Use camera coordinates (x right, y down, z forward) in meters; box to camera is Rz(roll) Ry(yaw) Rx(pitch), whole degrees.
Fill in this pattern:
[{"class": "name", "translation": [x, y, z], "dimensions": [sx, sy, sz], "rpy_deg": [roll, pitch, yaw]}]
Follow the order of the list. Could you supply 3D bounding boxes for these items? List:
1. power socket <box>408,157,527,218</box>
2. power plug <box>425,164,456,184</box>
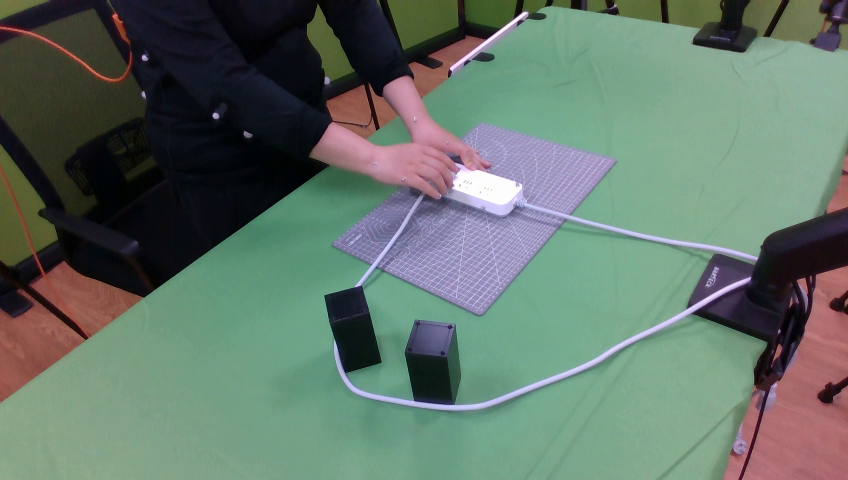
[{"class": "power socket", "translation": [0.070, -0.095, 1.060], "dimensions": [0.225, 0.033, 0.072], "rpy_deg": [22, 49, 30]}, {"class": "power plug", "translation": [0.024, -0.104, 1.048], "dimensions": [0.073, 0.053, 0.035], "rpy_deg": [-34, 47, -24]}]
